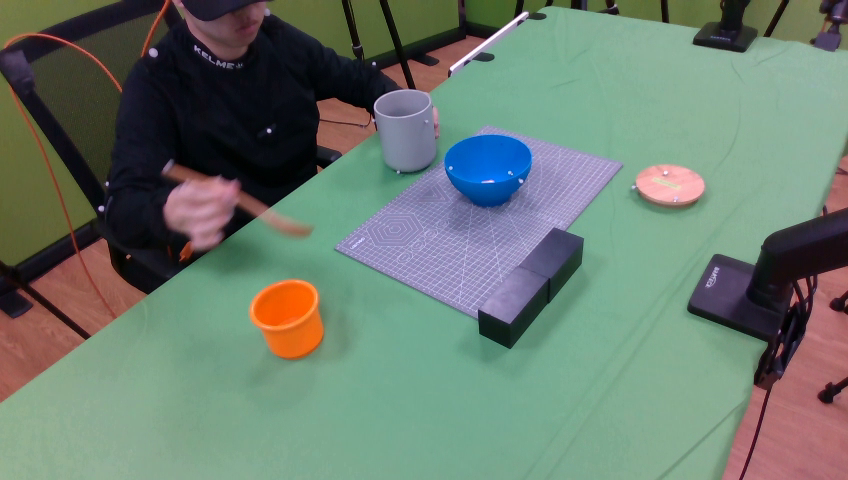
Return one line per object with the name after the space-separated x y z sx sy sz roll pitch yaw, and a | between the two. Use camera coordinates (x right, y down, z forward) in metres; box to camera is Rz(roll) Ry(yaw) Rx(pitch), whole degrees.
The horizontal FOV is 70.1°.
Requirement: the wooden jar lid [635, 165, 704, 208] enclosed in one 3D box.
0.410 -0.089 1.014 0.108 0.021 0.108 -5 42 5 | wooden jar lid

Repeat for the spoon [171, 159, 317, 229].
-0.227 -0.057 0.774 0.041 0.195 0.021 -20 45 59 | spoon

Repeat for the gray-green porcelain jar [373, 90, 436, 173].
-0.034 -0.198 1.125 0.106 0.127 0.105 -4 40 4 | gray-green porcelain jar

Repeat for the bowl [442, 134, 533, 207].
0.110 -0.109 1.033 0.151 0.077 0.150 -4 40 4 | bowl
